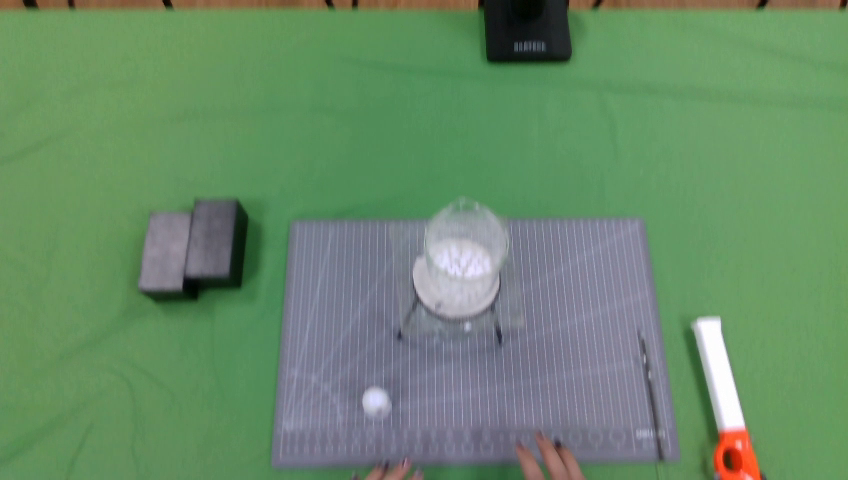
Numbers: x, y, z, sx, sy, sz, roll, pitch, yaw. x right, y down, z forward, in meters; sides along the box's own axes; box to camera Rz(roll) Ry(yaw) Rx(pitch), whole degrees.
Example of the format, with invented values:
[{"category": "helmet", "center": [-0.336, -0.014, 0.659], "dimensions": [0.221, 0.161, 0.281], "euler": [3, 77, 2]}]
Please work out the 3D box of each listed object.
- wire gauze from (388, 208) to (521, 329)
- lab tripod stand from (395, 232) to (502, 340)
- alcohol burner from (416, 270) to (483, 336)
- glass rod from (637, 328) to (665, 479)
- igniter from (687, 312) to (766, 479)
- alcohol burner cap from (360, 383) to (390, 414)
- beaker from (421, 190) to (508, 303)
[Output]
[{"category": "wire gauze", "center": [0.029, 0.027, 0.606], "dimensions": [0.125, 0.011, 0.120], "euler": [-5, 68, -1]}, {"category": "lab tripod stand", "center": [0.029, 0.053, 0.666], "dimensions": [0.148, 0.132, 0.147], "euler": [0, 68, 1]}, {"category": "alcohol burner", "center": [0.029, 0.065, 0.673], "dimensions": [0.078, 0.120, 0.077], "euler": [0, 68, 1]}, {"category": "glass rod", "center": [0.257, 0.197, 0.685], "dimensions": [0.008, 0.008, 0.198], "euler": [-1, 70, -2]}, {"category": "igniter", "center": [0.339, 0.216, 0.673], "dimensions": [0.057, 0.025, 0.274], "euler": [0, 70, -12]}, {"category": "alcohol burner cap", "center": [-0.055, 0.174, 0.669], "dimensions": [0.034, 0.048, 0.033], "euler": [1, 70, -1]}, {"category": "beaker", "center": [0.034, 0.011, 0.560], "dimensions": [0.074, 0.101, 0.083], "euler": [-4, 68, -2]}]
